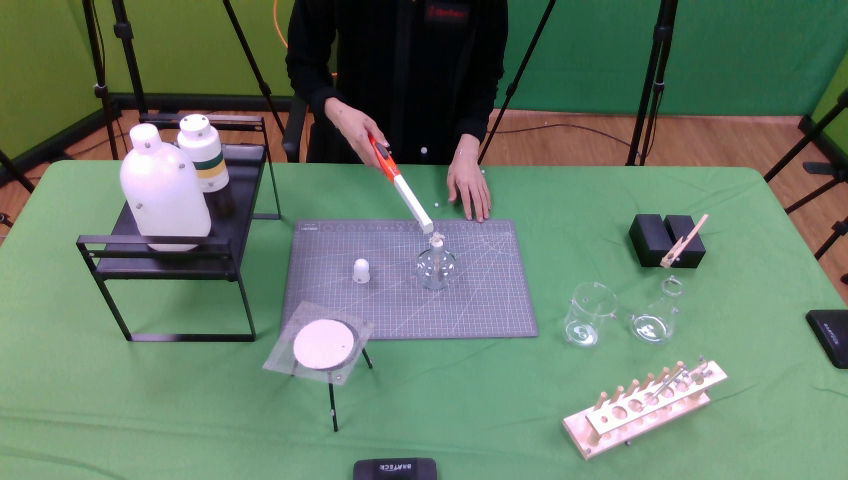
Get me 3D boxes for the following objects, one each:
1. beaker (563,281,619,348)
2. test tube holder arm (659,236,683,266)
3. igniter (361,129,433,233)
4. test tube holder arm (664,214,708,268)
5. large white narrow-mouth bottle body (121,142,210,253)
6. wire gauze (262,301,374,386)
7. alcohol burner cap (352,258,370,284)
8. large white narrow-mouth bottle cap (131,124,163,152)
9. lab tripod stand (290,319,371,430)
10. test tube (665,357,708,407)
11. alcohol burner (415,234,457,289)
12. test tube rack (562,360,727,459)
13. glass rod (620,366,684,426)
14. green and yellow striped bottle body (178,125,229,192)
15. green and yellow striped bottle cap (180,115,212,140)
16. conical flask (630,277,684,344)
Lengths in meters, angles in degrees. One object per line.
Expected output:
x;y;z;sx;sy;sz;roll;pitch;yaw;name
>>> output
0.283;0.129;1.041;0.074;0.101;0.083;11;46;6;beaker
0.473;0.020;1.149;0.010;0.015;0.088;35;54;27;test tube holder arm
-0.055;-0.119;1.135;0.025;0.057;0.275;-24;57;-14;igniter
0.507;-0.001;1.170;0.013;0.015;0.178;34;54;26;test tube holder arm
-0.378;-0.077;0.875;0.102;0.195;0.101;3;46;-3;large white narrow-mouth bottle body
-0.150;0.148;0.873;0.121;0.011;0.124;14;46;12;wire gauze
-0.117;0.055;1.118;0.034;0.048;0.033;2;46;-2;alcohol burner cap
-0.371;-0.138;0.813;0.038;0.024;0.037;3;46;-3;large white narrow-mouth bottle cap
-0.146;0.193;0.923;0.148;0.132;0.147;1;47;-1;lab tripod stand
0.387;0.216;0.905;0.017;0.151;0.017;1;53;-1;test tube
0.022;0.033;1.099;0.078;0.120;0.077;1;47;-1;alcohol burner
0.341;0.247;0.940;0.243;0.085;0.066;-16;49;-19;test tube rack
0.322;0.227;0.866;0.008;0.200;0.008;5;51;-7;glass rod
-0.361;-0.142;0.989;0.063;0.120;0.063;2;46;-2;green and yellow striped bottle body
-0.358;-0.177;0.951;0.045;0.020;0.045;1;45;-1;green and yellow striped bottle cap
0.408;0.117;1.045;0.075;0.122;0.075;2;46;-2;conical flask
